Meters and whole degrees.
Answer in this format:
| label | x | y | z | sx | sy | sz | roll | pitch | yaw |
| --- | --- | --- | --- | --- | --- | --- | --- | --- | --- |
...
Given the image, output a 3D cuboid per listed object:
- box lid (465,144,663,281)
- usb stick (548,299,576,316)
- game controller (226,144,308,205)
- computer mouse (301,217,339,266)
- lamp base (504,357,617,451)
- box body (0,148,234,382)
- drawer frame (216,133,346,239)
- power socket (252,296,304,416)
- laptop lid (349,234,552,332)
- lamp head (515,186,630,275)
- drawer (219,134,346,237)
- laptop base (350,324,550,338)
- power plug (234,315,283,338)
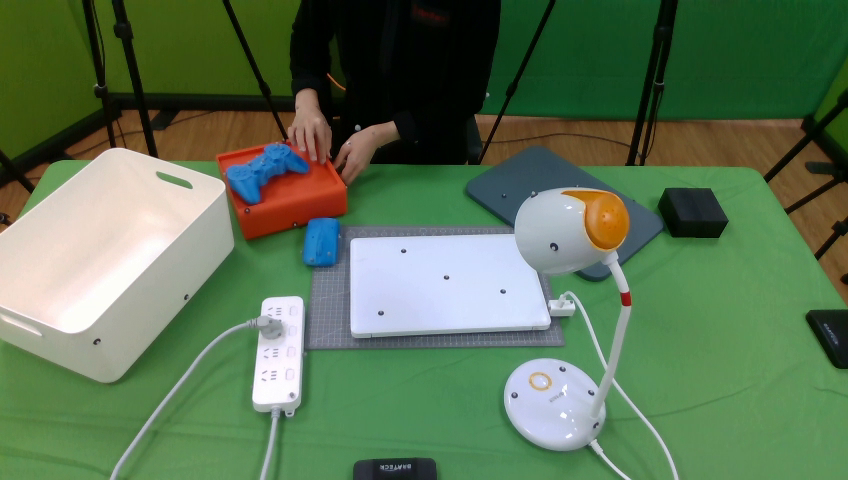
| label | x | y | z | sx | sy | sz | roll | pitch | yaw |
| --- | --- | --- | --- | --- | --- | --- | --- | --- | --- |
| box lid | 0.297 | -0.072 | 1.298 | 0.263 | 0.015 | 0.369 | -33 | 56 | -31 |
| usb stick | 0.239 | 0.121 | 1.083 | 0.059 | 0.027 | 0.021 | -1 | 50 | -2 |
| game controller | -0.314 | -0.138 | 1.194 | 0.096 | 0.052 | 0.155 | 30 | 50 | 26 |
| computer mouse | -0.199 | -0.001 | 1.169 | 0.063 | 0.041 | 0.116 | 4 | 50 | -3 |
| lamp base | 0.220 | 0.211 | 0.903 | 0.160 | 0.181 | 0.178 | -32 | 59 | -30 |
| box body | -0.525 | 0.033 | 1.027 | 0.254 | 0.161 | 0.362 | 18 | 47 | 13 |
| drawer frame | -0.292 | -0.115 | 1.244 | 0.214 | 0.083 | 0.200 | -18 | 51 | -20 |
| power socket | -0.238 | 0.182 | 0.997 | 0.072 | 0.033 | 0.225 | -3 | 47 | -5 |
| laptop lid | 0.040 | 0.071 | 1.118 | 0.357 | 0.013 | 0.240 | 0 | 44 | -5 |
| lamp head | 0.188 | -0.013 | 0.728 | 0.112 | 0.112 | 0.122 | -25 | 9 | -25 |
| drawer | -0.290 | -0.116 | 1.247 | 0.212 | 0.073 | 0.193 | -18 | 51 | -19 |
| laptop base | 0.039 | 0.081 | 1.124 | 0.355 | 0.023 | 0.234 | -2 | 43 | -6 |
| power plug | -0.270 | 0.143 | 1.000 | 0.072 | 0.053 | 0.035 | 5 | 47 | 2 |
